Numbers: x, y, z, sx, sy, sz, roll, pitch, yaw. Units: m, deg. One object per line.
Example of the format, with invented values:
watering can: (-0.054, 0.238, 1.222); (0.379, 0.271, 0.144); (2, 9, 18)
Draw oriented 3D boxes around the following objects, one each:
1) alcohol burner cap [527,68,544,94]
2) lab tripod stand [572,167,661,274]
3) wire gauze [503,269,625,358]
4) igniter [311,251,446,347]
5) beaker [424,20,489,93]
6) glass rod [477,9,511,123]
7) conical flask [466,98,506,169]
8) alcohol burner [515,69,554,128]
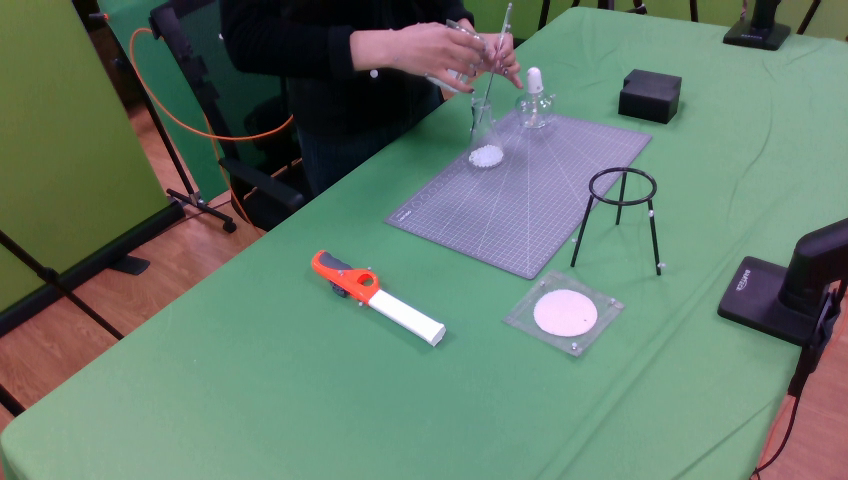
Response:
alcohol burner cap: (0.216, -0.312, 1.179); (0.034, 0.048, 0.033); (-9, 40, 8)
lab tripod stand: (0.283, -0.030, 0.879); (0.148, 0.132, 0.147); (-7, 38, 6)
wire gauze: (0.194, 0.100, 0.840); (0.120, 0.011, 0.125); (27, 54, 36)
igniter: (-0.078, 0.081, 0.899); (0.274, 0.025, 0.057); (27, 62, 35)
beaker: (0.053, -0.304, 1.015); (0.084, 0.100, 0.074); (26, 16, -5)
glass rod: (0.122, -0.303, 1.063); (0.008, 0.200, 0.008); (13, 20, -4)
conical flask: (0.111, -0.199, 1.116); (0.075, 0.122, 0.075); (-5, 40, 5)
alcohol burner: (0.221, -0.285, 1.203); (0.078, 0.119, 0.077); (-4, 39, 4)
